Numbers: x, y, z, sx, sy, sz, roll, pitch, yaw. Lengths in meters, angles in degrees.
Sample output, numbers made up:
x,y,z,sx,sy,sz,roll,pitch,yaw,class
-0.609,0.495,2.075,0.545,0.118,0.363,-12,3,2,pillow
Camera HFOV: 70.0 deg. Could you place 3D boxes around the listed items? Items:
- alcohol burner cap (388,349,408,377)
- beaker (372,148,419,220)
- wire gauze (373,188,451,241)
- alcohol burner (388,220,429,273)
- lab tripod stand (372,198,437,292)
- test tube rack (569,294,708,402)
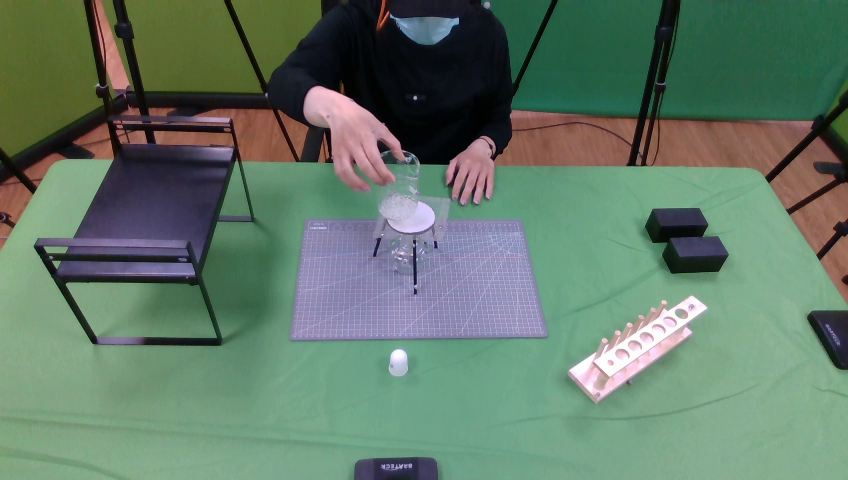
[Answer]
x,y,z,sx,sy,sz,roll,pitch,yaw,class
-0.042,0.197,0.989,0.034,0.048,0.033,3,46,-2,alcohol burner cap
-0.042,-0.088,0.997,0.083,0.101,0.074,31,53,27,beaker
-0.019,-0.045,1.060,0.121,0.011,0.124,8,45,3,wire gauze
-0.028,0.006,1.118,0.078,0.119,0.077,2,48,-2,alcohol burner
-0.025,-0.002,1.112,0.148,0.132,0.147,2,44,-2,lab tripod stand
0.360,0.167,1.014,0.242,0.085,0.066,-25,53,-25,test tube rack
